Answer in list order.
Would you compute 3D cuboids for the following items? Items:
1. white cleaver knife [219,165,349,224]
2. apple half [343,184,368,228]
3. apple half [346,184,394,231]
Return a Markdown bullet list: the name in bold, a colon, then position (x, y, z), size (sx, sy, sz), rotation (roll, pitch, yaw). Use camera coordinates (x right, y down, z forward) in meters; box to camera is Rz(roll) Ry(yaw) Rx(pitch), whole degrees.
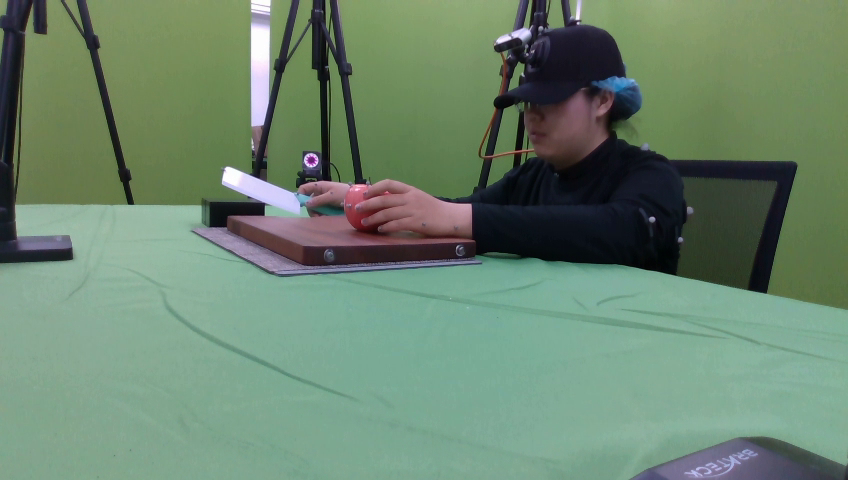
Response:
- **white cleaver knife**: position (-0.276, -0.079, 1.225), size (0.288, 0.065, 0.021), rotation (20, -44, -33)
- **apple half**: position (-0.108, -0.056, 0.974), size (0.032, 0.081, 0.082), rotation (14, 13, 35)
- **apple half**: position (-0.077, -0.050, 0.951), size (0.053, 0.074, 0.081), rotation (14, 9, 35)
